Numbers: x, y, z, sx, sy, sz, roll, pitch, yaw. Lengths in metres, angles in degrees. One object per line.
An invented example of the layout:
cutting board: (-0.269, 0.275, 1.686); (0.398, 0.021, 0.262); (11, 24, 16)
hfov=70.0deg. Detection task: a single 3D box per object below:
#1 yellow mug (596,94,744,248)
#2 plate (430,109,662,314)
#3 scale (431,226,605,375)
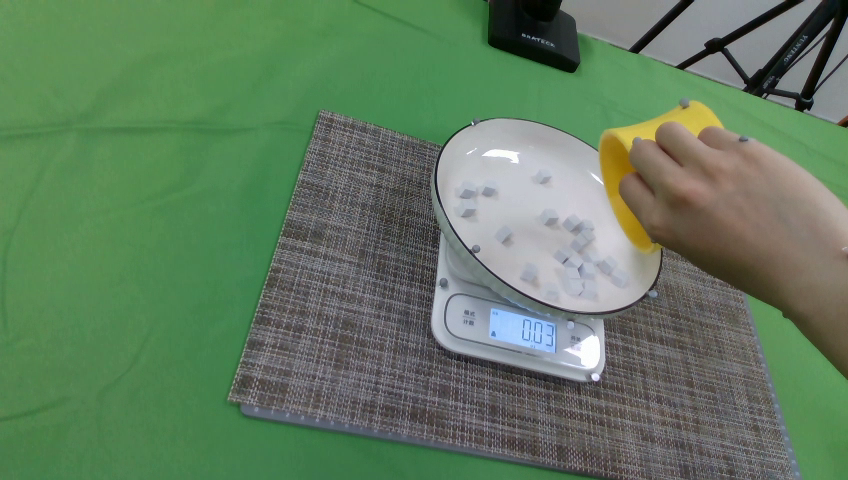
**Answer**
yellow mug: (0.179, -0.051, 0.438); (0.064, 0.131, 0.100); (-21, 90, 2)
plate: (0.101, -0.025, 0.516); (0.210, 0.038, 0.207); (11, 52, -14)
scale: (0.085, 0.011, 0.525); (0.149, 0.032, 0.199); (15, 51, -10)
